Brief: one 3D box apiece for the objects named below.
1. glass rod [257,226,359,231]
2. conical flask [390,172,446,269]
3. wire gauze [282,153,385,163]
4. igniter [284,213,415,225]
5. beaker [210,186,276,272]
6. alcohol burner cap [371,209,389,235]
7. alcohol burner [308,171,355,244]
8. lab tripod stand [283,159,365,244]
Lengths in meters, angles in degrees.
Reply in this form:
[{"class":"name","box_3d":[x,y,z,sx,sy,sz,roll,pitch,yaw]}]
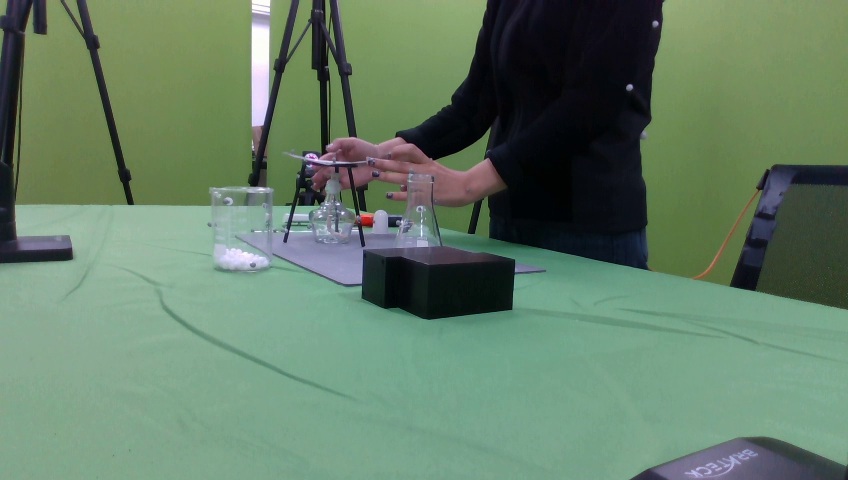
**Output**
[{"class":"glass rod","box_3d":[-0.216,-0.022,1.151,0.201,0.008,0.008,-2,8,-28]},{"class":"conical flask","box_3d":[-0.006,-0.027,0.790,0.075,0.122,0.075,2,7,0]},{"class":"wire gauze","box_3d":[-0.144,-0.129,0.972,0.124,0.011,0.122,11,10,42]},{"class":"igniter","box_3d":[-0.154,-0.045,1.282,0.278,0.025,0.057,0,-3,-20]},{"class":"beaker","box_3d":[-0.224,-0.014,0.738,0.084,0.100,0.074,4,7,16]},{"class":"alcohol burner cap","box_3d":[-0.082,-0.035,1.143,0.034,0.048,0.034,3,6,0]},{"class":"alcohol burner","box_3d":[-0.151,-0.054,0.993,0.078,0.119,0.078,1,6,0]},{"class":"lab tripod stand","box_3d":[-0.151,-0.063,0.983,0.148,0.131,0.148,4,7,0]}]
